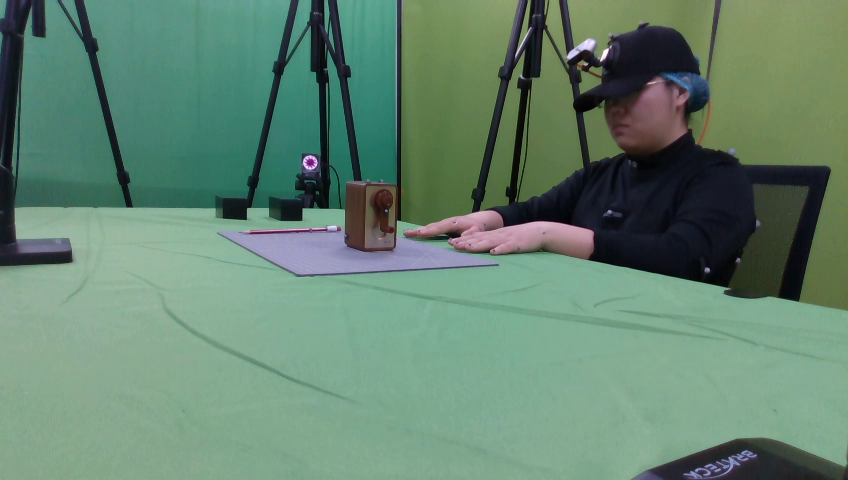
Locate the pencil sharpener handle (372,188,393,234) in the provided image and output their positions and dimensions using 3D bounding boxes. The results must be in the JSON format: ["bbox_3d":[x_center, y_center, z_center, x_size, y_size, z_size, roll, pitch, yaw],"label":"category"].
[{"bbox_3d":[-0.057,-0.044,0.912,0.036,0.067,0.030,-2,9,-33],"label":"pencil sharpener handle"}]

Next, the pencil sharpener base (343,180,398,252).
[{"bbox_3d":[-0.085,-0.038,0.956,0.062,0.107,0.076,-1,9,-33],"label":"pencil sharpener base"}]

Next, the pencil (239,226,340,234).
[{"bbox_3d":[-0.245,-0.018,1.119,0.195,0.012,0.012,-3,9,-34],"label":"pencil"}]
